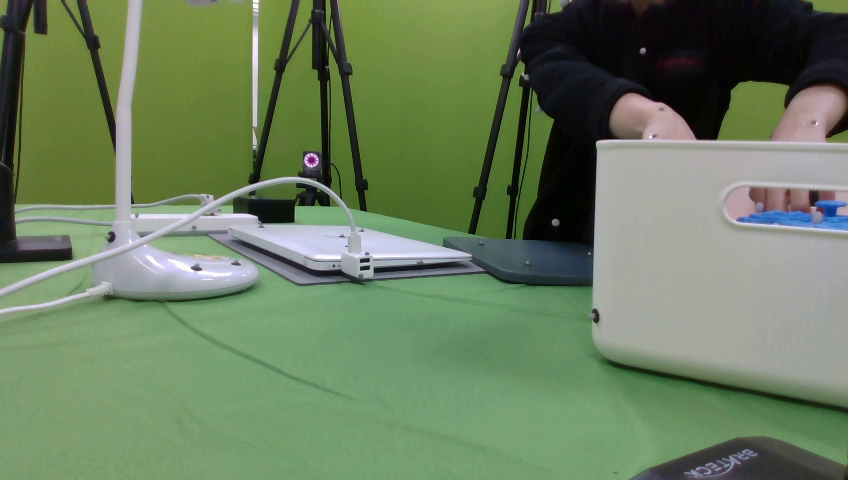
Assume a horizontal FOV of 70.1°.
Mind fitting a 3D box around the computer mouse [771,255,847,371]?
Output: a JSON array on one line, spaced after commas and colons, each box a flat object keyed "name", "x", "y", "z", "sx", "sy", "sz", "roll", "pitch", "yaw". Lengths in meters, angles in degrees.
[{"name": "computer mouse", "x": 0.345, "y": 0.057, "z": 0.519, "sx": 0.063, "sy": 0.041, "sz": 0.117, "roll": 11, "pitch": 47, "yaw": 4}]

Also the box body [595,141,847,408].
[{"name": "box body", "x": 0.309, "y": 0.007, "z": 0.510, "sx": 0.253, "sy": 0.160, "sz": 0.366, "roll": 6, "pitch": 8, "yaw": 29}]

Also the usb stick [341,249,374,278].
[{"name": "usb stick", "x": -0.078, "y": 0.026, "z": 0.686, "sx": 0.021, "sy": 0.027, "sz": 0.059, "roll": -8, "pitch": 8, "yaw": -30}]

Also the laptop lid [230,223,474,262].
[{"name": "laptop lid", "x": -0.121, "y": 0.000, "z": 0.888, "sx": 0.243, "sy": 0.013, "sz": 0.355, "roll": 1, "pitch": 7, "yaw": -33}]

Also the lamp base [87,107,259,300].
[{"name": "lamp base", "x": -0.254, "y": -0.039, "z": 0.603, "sx": 0.160, "sy": 0.180, "sz": 0.179, "roll": 5, "pitch": 10, "yaw": 18}]

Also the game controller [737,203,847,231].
[{"name": "game controller", "x": 0.292, "y": 0.001, "z": 0.426, "sx": 0.097, "sy": 0.051, "sz": 0.155, "roll": 0, "pitch": 7, "yaw": 5}]

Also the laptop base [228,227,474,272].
[{"name": "laptop base", "x": -0.124, "y": 0.012, "z": 0.889, "sx": 0.237, "sy": 0.023, "sz": 0.352, "roll": 2, "pitch": 6, "yaw": -35}]

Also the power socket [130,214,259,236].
[{"name": "power socket", "x": -0.397, "y": -0.028, "z": 1.048, "sx": 0.228, "sy": 0.032, "sz": 0.072, "roll": -3, "pitch": 7, "yaw": -35}]

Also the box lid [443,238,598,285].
[{"name": "box lid", "x": 0.191, "y": 0.028, "z": 0.904, "sx": 0.264, "sy": 0.015, "sz": 0.370, "roll": 2, "pitch": 7, "yaw": -12}]

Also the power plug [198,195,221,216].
[{"name": "power plug", "x": -0.386, "y": -0.055, "z": 1.088, "sx": 0.035, "sy": 0.052, "sz": 0.072, "roll": -2, "pitch": 6, "yaw": -24}]

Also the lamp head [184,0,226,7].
[{"name": "lamp head", "x": -0.229, "y": -0.320, "z": 0.627, "sx": 0.112, "sy": 0.112, "sz": 0.123, "roll": 6, "pitch": -35, "yaw": 26}]
